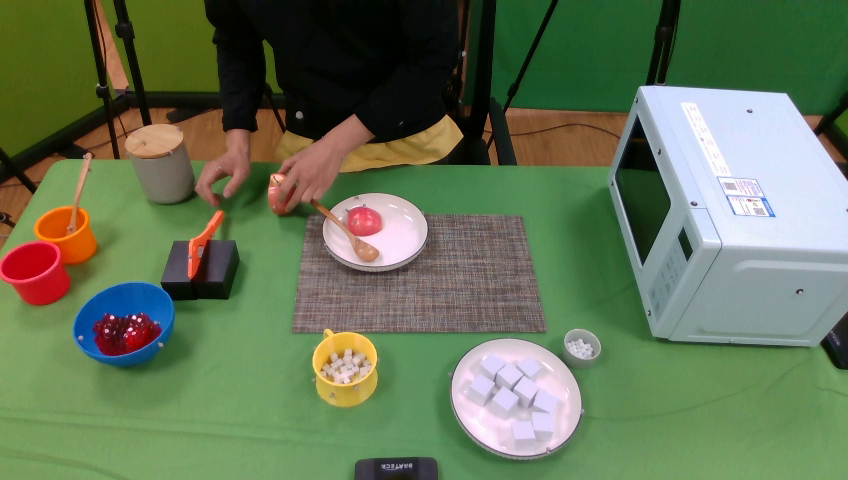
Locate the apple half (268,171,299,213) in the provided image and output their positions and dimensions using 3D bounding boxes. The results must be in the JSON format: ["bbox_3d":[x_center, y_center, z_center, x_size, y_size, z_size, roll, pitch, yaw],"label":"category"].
[{"bbox_3d":[-0.280,-0.095,1.222,0.053,0.075,0.080,-2,39,-3],"label":"apple half"}]

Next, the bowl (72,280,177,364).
[{"bbox_3d":[-0.473,0.147,0.982,0.151,0.077,0.150,2,46,-2],"label":"bowl"}]

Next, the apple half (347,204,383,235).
[{"bbox_3d":[-0.118,-0.048,1.207,0.081,0.033,0.081,2,49,-3],"label":"apple half"}]

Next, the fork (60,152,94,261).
[{"bbox_3d":[-0.638,-0.063,1.119,0.028,0.018,0.207,12,90,8],"label":"fork"}]

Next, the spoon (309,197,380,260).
[{"bbox_3d":[-0.157,-0.026,1.173,0.041,0.022,0.193,-40,72,-22],"label":"spoon"}]

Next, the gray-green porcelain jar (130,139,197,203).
[{"bbox_3d":[-0.522,-0.148,1.225,0.106,0.127,0.105,2,47,-2],"label":"gray-green porcelain jar"}]

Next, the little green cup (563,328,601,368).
[{"bbox_3d":[0.266,0.185,1.025,0.061,0.039,0.061,1,45,-1],"label":"little green cup"}]

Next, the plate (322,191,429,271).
[{"bbox_3d":[-0.094,-0.015,1.185,0.209,0.038,0.208,2,46,-2],"label":"plate"}]

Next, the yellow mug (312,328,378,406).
[{"bbox_3d":[-0.132,0.193,0.971,0.100,0.064,0.130,-22,51,-22],"label":"yellow mug"}]

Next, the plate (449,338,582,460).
[{"bbox_3d":[0.141,0.251,0.956,0.208,0.039,0.206,2,46,-2],"label":"plate"}]

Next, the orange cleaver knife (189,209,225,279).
[{"bbox_3d":[-0.401,0.002,1.122,0.012,0.077,0.210,4,23,-4],"label":"orange cleaver knife"}]

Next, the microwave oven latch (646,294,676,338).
[{"bbox_3d":[0.413,0.133,1.061,0.030,0.029,0.078,4,46,1],"label":"microwave oven latch"}]

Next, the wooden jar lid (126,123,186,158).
[{"bbox_3d":[-0.519,-0.190,1.179,0.108,0.021,0.107,2,44,-2],"label":"wooden jar lid"}]

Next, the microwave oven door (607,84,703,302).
[{"bbox_3d":[0.423,-0.096,1.138,0.039,0.245,0.353,3,47,-1],"label":"microwave oven door"}]

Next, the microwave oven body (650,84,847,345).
[{"bbox_3d":[0.569,-0.054,1.116,0.326,0.261,0.439,2,46,-1],"label":"microwave oven body"}]
